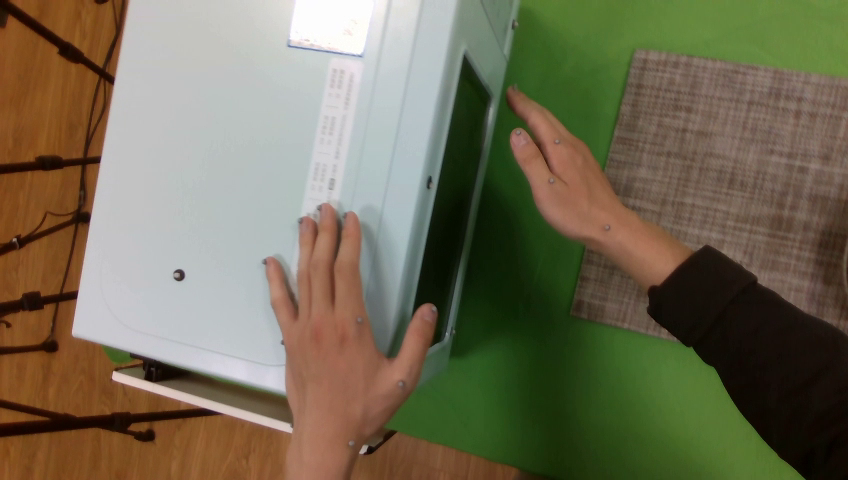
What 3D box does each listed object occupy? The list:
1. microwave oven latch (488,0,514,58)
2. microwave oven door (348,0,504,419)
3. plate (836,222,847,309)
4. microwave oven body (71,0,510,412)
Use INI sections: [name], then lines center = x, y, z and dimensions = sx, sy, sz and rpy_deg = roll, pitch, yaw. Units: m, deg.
[microwave oven latch]
center = 0.081, -0.244, 0.667
dimensions = 0.030, 0.029, 0.079
rpy_deg = 11, 93, 14
[microwave oven door]
center = 0.011, -0.032, 0.579
dimensions = 0.039, 0.244, 0.355
rpy_deg = 11, 92, 16
[plate]
center = 0.501, 0.025, 0.567
dimensions = 0.207, 0.039, 0.207
rpy_deg = 0, 90, 15
[microwave oven body]
center = -0.119, -0.100, 0.619
dimensions = 0.325, 0.261, 0.441
rpy_deg = 11, 93, 14
